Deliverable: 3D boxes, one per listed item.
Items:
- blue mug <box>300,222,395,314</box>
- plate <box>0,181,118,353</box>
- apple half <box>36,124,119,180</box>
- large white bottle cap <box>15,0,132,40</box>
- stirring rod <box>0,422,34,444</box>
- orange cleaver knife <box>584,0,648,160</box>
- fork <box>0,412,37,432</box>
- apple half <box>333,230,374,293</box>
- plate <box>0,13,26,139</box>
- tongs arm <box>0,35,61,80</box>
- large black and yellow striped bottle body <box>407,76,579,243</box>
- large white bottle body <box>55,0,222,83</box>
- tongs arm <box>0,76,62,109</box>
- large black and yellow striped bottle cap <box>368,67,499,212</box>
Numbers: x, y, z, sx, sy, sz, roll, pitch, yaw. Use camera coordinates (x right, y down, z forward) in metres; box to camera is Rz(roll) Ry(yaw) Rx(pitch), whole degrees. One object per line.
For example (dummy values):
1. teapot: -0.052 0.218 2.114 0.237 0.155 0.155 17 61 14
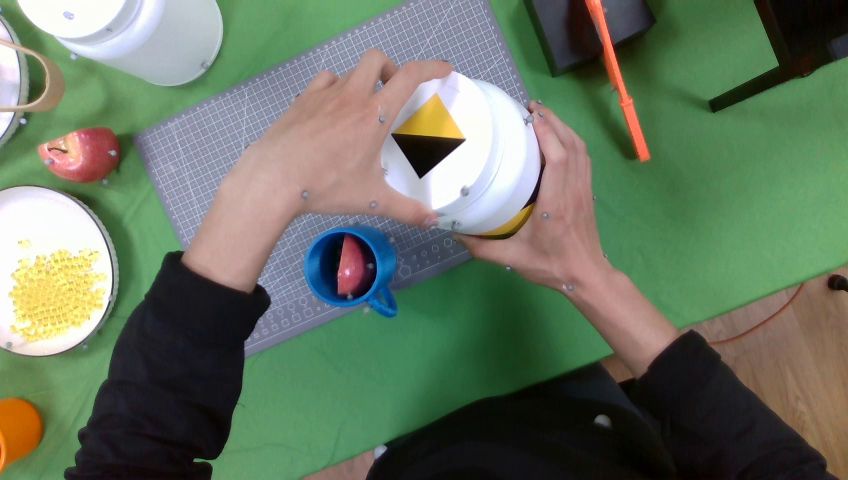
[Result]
1. blue mug: -0.071 0.035 0.670 0.082 0.106 0.116 -39 90 6
2. plate: -0.468 0.032 0.737 0.209 0.038 0.209 0 95 5
3. apple half: -0.395 -0.097 0.704 0.081 0.074 0.053 -20 96 2
4. large white bottle cap: -0.317 -0.241 0.546 0.115 0.018 0.115 0 94 5
5. stirring rod: -0.558 0.254 0.707 0.177 0.006 0.014 -17 80 -34
6. orange cleaver knife: 0.200 -0.184 0.645 0.012 0.076 0.213 -22 118 15
7. fork: -0.574 0.239 0.705 0.208 0.018 0.028 -9 93 -38
8. apple half: -0.070 0.024 0.663 0.032 0.081 0.081 10 95 11
9. plate: -0.572 -0.199 0.728 0.207 0.039 0.208 0 95 4
10. tongs arm: -0.593 -0.257 0.695 0.387 0.028 0.028 19 89 5
11. large black and yellow striped bottle body: 0.051 -0.070 0.552 0.130 0.185 0.130 -5 81 33
12. large white bottle body: -0.308 -0.246 0.630 0.130 0.184 0.130 0 93 5
13. tongs arm: -0.607 -0.175 0.700 0.384 0.026 0.051 5 91 6
14. large black and yellow striped bottle cap: 0.005 -0.079 0.482 0.114 0.019 0.114 -5 80 32
